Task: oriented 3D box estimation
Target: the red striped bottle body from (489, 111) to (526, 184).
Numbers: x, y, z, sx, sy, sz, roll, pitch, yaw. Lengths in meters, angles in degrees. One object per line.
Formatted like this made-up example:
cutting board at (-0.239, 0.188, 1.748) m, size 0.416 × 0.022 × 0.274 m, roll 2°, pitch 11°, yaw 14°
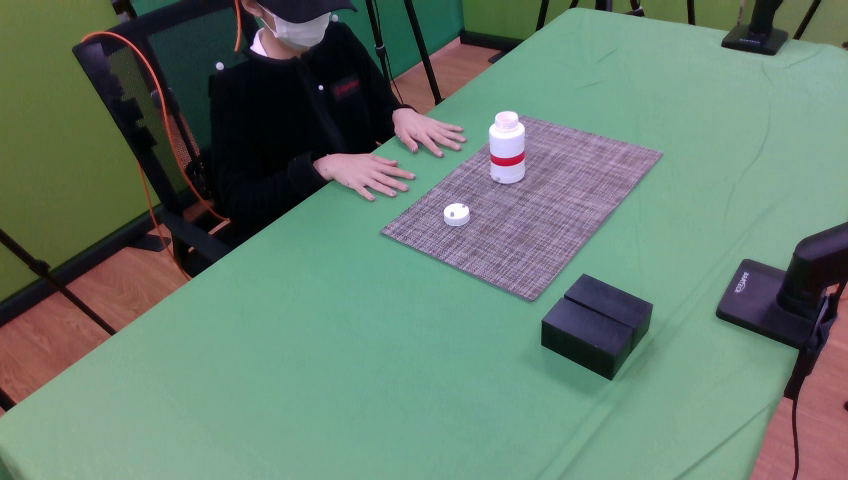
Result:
red striped bottle body at (0.147, -0.164, 1.064) m, size 0.063 × 0.120 × 0.062 m, roll -5°, pitch 39°, yaw 4°

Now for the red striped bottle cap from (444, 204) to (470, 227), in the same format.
red striped bottle cap at (0.055, -0.042, 1.016) m, size 0.044 × 0.018 × 0.044 m, roll -2°, pitch 42°, yaw 3°
